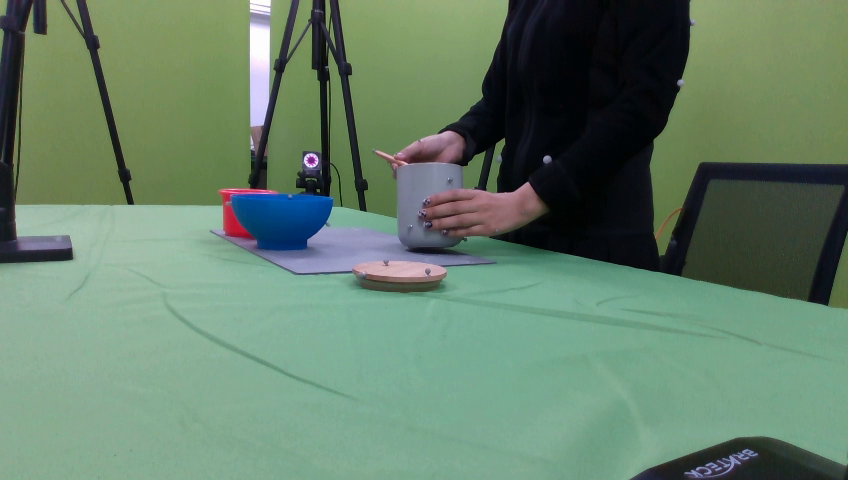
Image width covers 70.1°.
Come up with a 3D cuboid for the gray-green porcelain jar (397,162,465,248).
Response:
[{"bbox_3d":[0.011,-0.051,0.943,0.106,0.126,0.106,-2,-2,0],"label":"gray-green porcelain jar"}]

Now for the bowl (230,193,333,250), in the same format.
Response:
[{"bbox_3d":[-0.214,-0.028,0.912,0.151,0.077,0.151,2,8,0],"label":"bowl"}]

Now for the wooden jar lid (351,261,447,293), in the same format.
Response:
[{"bbox_3d":[-0.028,0.042,0.687,0.108,0.020,0.108,3,8,0],"label":"wooden jar lid"}]

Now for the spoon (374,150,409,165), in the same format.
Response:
[{"bbox_3d":[-0.021,-0.113,0.985,0.042,0.021,0.192,2,28,-45],"label":"spoon"}]
